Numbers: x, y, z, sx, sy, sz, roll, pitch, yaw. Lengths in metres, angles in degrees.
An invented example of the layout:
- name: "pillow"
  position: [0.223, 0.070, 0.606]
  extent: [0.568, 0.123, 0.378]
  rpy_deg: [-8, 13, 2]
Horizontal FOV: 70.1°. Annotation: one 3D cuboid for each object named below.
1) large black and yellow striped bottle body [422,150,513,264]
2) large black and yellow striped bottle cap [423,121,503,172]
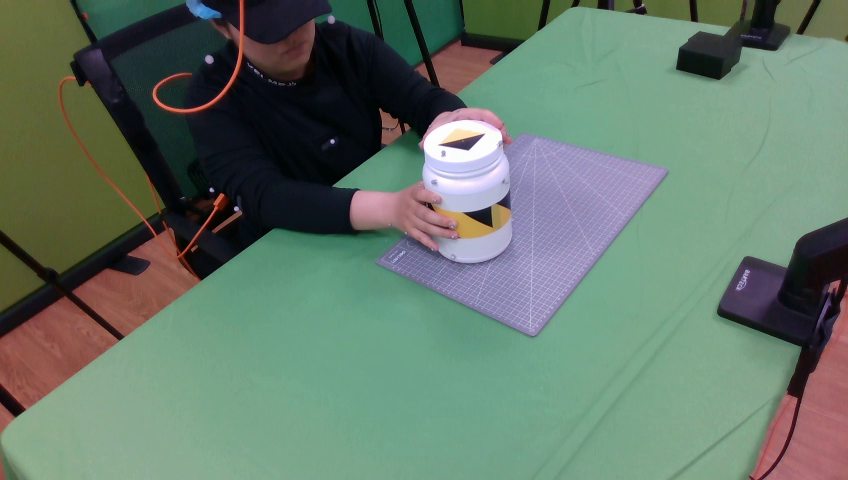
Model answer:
- name: "large black and yellow striped bottle body"
  position: [0.067, -0.070, 0.923]
  extent: [0.131, 0.185, 0.130]
  rpy_deg: [-5, 40, 5]
- name: "large black and yellow striped bottle cap"
  position: [0.056, -0.136, 0.868]
  extent: [0.115, 0.019, 0.114]
  rpy_deg: [-6, 39, 5]
